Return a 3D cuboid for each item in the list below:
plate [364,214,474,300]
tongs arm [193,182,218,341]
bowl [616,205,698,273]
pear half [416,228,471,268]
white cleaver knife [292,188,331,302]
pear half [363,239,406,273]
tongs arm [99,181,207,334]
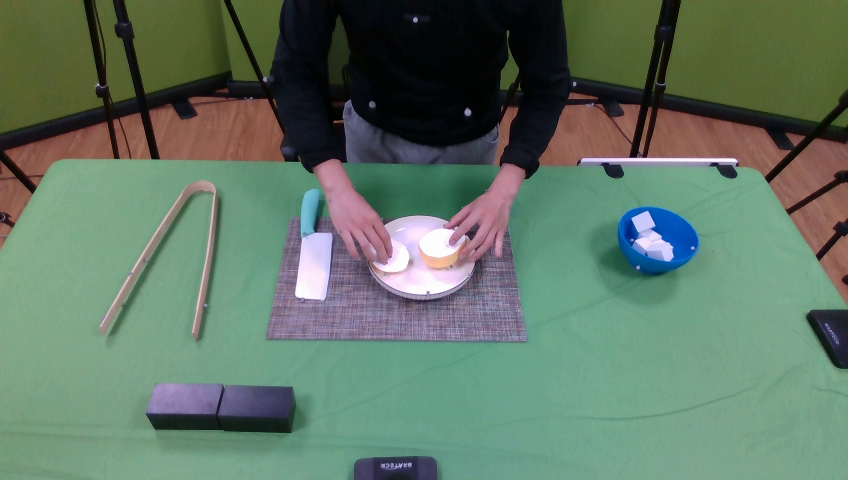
[{"bbox_3d":[-0.010,0.036,1.147,0.208,0.039,0.206,2,46,-2],"label":"plate"},{"bbox_3d":[-0.413,0.025,1.140,0.028,0.028,0.385,-5,47,-7],"label":"tongs arm"},{"bbox_3d":[0.443,0.011,1.182,0.151,0.077,0.150,2,46,-2],"label":"bowl"},{"bbox_3d":[0.043,0.013,1.143,0.110,0.056,0.076,-24,57,-6],"label":"pear half"},{"bbox_3d":[-0.215,0.006,1.178,0.066,0.021,0.284,4,49,-11],"label":"white cleaver knife"},{"bbox_3d":[-0.077,0.034,1.140,0.088,0.031,0.070,20,44,-16],"label":"pear half"},{"bbox_3d":[-0.494,0.018,1.132,0.051,0.026,0.382,7,45,0],"label":"tongs arm"}]
